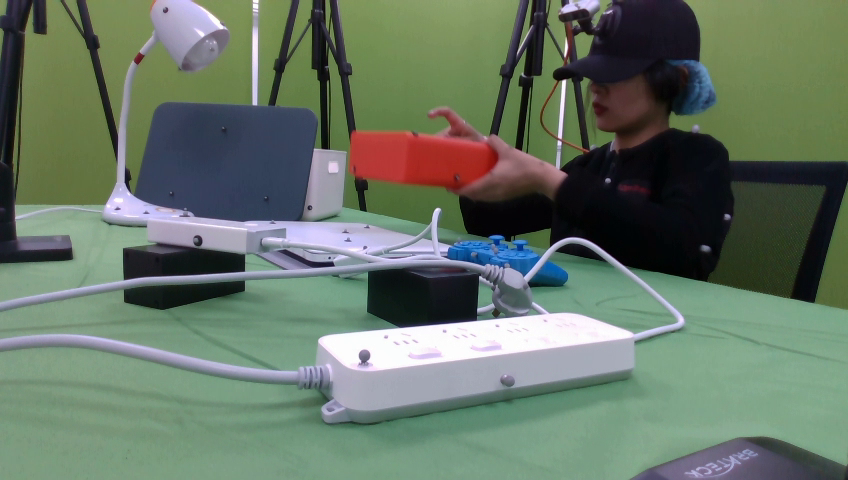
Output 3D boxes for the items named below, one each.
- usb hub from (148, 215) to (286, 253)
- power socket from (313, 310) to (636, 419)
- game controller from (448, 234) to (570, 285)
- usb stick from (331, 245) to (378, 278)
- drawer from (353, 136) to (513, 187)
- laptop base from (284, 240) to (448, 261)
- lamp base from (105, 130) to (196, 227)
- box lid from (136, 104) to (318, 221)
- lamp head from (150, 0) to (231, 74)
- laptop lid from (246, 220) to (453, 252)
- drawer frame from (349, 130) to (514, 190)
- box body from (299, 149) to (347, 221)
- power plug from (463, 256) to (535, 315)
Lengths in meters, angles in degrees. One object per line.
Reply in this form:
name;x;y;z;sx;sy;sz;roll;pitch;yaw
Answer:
usb hub;-0.197;-0.006;0.575;0.125;0.025;0.050;6;6;22
power socket;0.039;0.072;0.385;0.228;0.032;0.072;-2;7;-28
game controller;0.099;0.021;0.756;0.097;0.051;0.154;-7;10;-29
usb stick;-0.085;0.026;0.701;0.059;0.027;0.021;-18;18;27
drawer;0.012;-0.138;1.051;0.213;0.073;0.193;1;8;-33
laptop base;-0.125;0.002;0.945;0.237;0.023;0.352;2;6;-31
lamp base;-0.532;-0.120;1.153;0.179;0.180;0.161;1;7;8
box lid;-0.411;-0.162;1.266;0.371;0.263;0.015;3;-15;9
lamp head;-0.432;-0.374;1.086;0.123;0.112;0.112;42;8;-3
laptop lid;-0.123;-0.009;0.945;0.243;0.013;0.355;1;7;-29
drawer frame;0.011;-0.137;1.048;0.215;0.082;0.200;0;9;-34
box body;-0.384;-0.137;1.407;0.364;0.160;0.254;3;8;8
power plug;0.064;0.039;0.530;0.072;0.052;0.035;31;43;7
